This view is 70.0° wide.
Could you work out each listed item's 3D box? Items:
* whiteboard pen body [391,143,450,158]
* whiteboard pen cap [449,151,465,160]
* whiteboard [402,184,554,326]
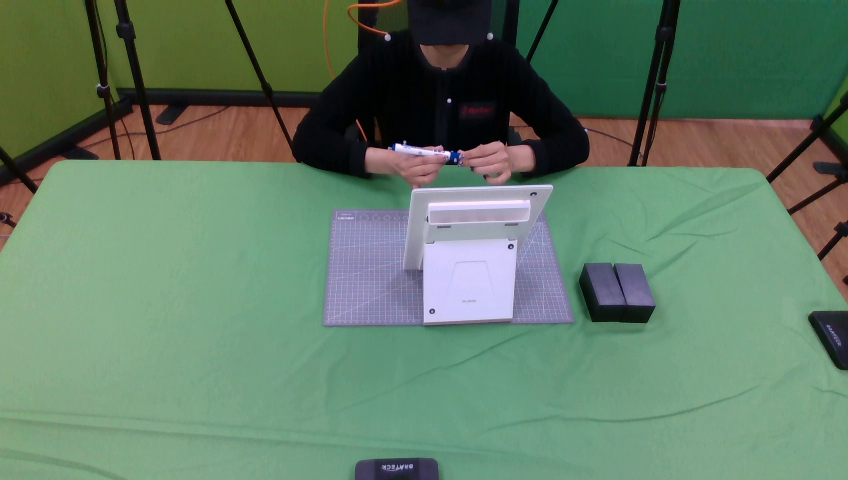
[{"bbox_3d":[0.005,-0.175,1.196,0.141,0.017,0.017,7,46,-6],"label":"whiteboard pen body"},{"bbox_3d":[0.065,-0.167,1.203,0.033,0.018,0.018,4,46,-3],"label":"whiteboard pen cap"},{"bbox_3d":[0.081,0.044,1.005,0.217,0.306,0.143,-1,65,-6],"label":"whiteboard"}]
